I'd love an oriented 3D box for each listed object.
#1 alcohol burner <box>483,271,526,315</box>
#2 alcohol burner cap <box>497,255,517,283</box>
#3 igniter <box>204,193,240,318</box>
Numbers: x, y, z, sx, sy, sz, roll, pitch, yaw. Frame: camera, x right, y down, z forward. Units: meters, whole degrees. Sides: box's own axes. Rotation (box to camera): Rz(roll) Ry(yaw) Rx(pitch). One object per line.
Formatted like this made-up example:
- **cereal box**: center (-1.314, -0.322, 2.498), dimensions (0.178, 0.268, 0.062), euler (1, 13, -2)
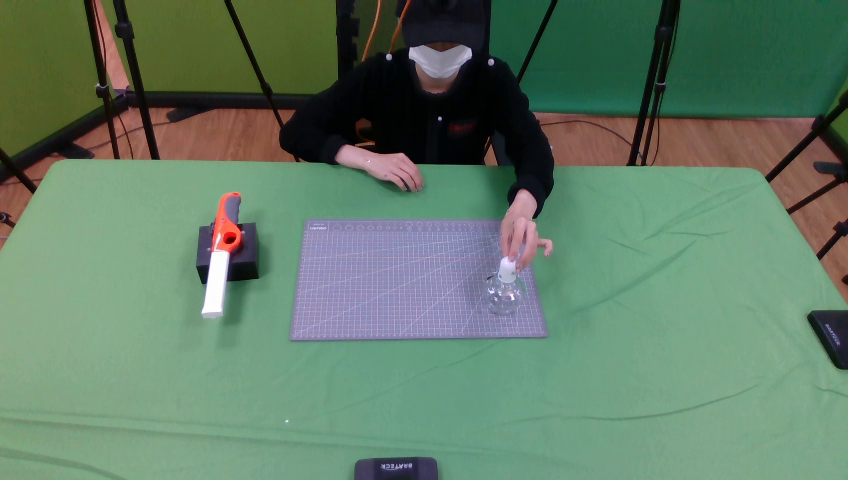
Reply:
- **alcohol burner**: center (0.143, 0.076, 1.067), dimensions (0.078, 0.120, 0.077), euler (1, 45, -1)
- **alcohol burner cap**: center (0.143, 0.048, 1.038), dimensions (0.034, 0.048, 0.033), euler (0, 46, 1)
- **igniter**: center (-0.361, 0.017, 1.084), dimensions (0.057, 0.025, 0.274), euler (-3, 51, -6)
